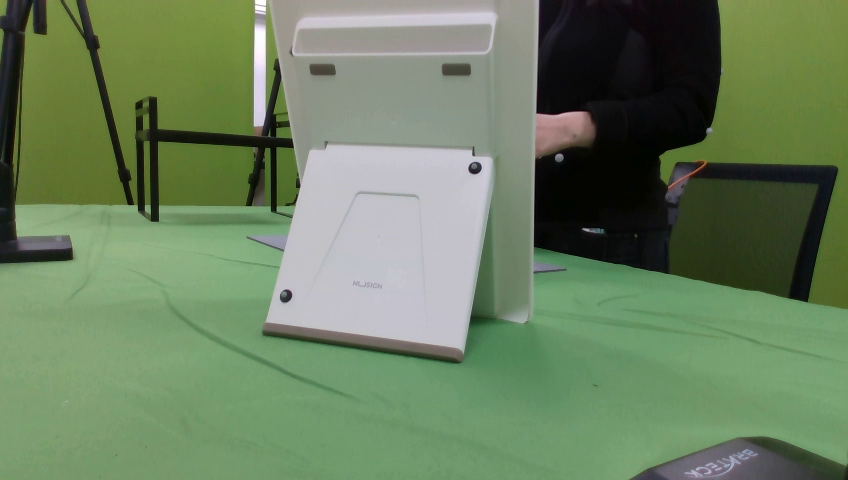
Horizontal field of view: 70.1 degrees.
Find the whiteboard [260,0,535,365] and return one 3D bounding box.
[{"bbox_3d":[-0.037,-0.041,0.457,0.216,0.305,0.144,5,28,19],"label":"whiteboard"}]

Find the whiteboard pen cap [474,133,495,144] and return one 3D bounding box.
[{"bbox_3d":[0.092,-0.155,0.927,0.033,0.018,0.018,4,8,13],"label":"whiteboard pen cap"}]

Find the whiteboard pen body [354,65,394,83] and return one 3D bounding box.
[{"bbox_3d":[-0.093,-0.307,1.124,0.017,0.017,0.140,-3,24,-36],"label":"whiteboard pen body"}]
